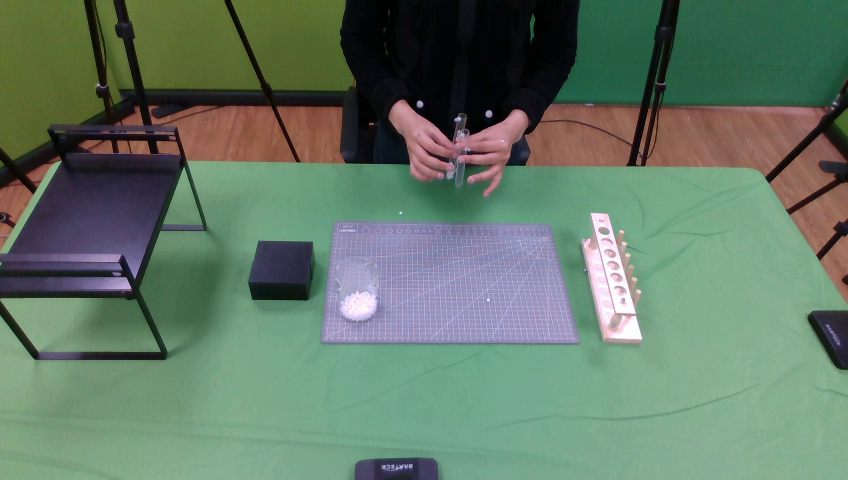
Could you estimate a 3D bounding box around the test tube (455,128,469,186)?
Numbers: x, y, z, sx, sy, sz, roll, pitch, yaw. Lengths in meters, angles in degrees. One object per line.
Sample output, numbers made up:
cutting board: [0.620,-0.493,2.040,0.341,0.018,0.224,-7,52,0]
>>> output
test tube: [0.068,-0.146,1.093,0.017,0.151,0.017,1,58,-1]

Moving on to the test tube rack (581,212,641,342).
test tube rack: [0.351,0.064,1.121,0.067,0.085,0.241,3,46,-1]

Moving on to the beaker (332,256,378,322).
beaker: [-0.114,0.089,1.047,0.083,0.101,0.074,30,52,21]

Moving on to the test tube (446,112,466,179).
test tube: [0.056,-0.168,1.102,0.017,0.151,0.017,4,48,-5]
